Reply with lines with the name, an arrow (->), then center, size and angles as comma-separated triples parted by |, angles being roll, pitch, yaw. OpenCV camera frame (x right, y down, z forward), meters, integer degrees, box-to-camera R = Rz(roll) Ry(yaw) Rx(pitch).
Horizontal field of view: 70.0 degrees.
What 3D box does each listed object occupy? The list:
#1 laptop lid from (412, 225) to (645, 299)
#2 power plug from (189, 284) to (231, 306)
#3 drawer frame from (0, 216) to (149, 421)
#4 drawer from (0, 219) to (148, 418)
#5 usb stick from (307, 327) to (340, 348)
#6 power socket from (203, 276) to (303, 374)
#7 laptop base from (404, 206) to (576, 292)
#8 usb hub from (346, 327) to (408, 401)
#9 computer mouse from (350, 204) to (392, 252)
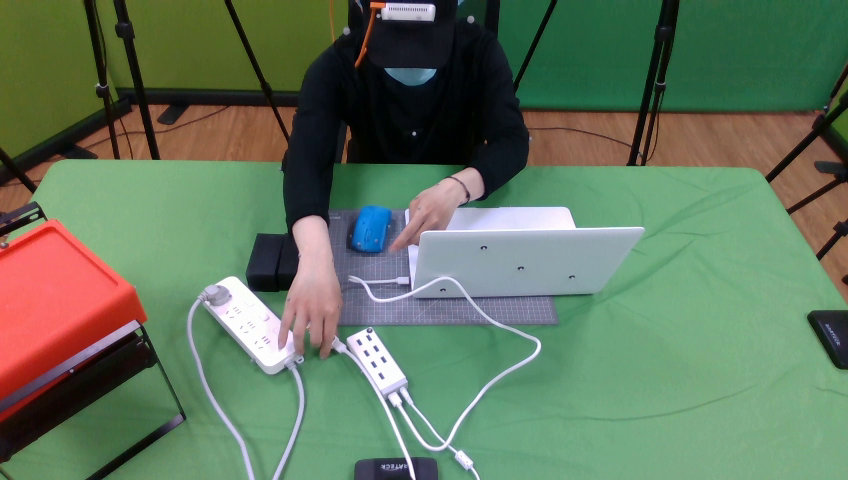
laptop lid -> 0.161, 0.042, 1.012 | 0.357, 0.242, 0.013 | 0, 59, -7
power plug -> -0.367, 0.100, 1.037 | 0.072, 0.053, 0.035 | -24, 54, -27
drawer frame -> -0.510, 0.093, 0.780 | 0.201, 0.083, 0.213 | 31, 52, 23
drawer -> -0.509, 0.093, 0.783 | 0.193, 0.073, 0.211 | 32, 53, 24
usb stick -> -0.174, 0.163, 1.024 | 0.059, 0.027, 0.021 | 14, 76, 20
power socket -> -0.296, 0.141, 1.034 | 0.072, 0.033, 0.225 | -34, 58, -30
laptop base -> 0.143, 0.018, 1.196 | 0.355, 0.023, 0.234 | -1, 43, -6
usb hub -> -0.078, 0.202, 0.998 | 0.049, 0.025, 0.124 | -23, 52, -23
computer mouse -> -0.104, -0.027, 1.202 | 0.063, 0.041, 0.116 | 12, 51, 3
